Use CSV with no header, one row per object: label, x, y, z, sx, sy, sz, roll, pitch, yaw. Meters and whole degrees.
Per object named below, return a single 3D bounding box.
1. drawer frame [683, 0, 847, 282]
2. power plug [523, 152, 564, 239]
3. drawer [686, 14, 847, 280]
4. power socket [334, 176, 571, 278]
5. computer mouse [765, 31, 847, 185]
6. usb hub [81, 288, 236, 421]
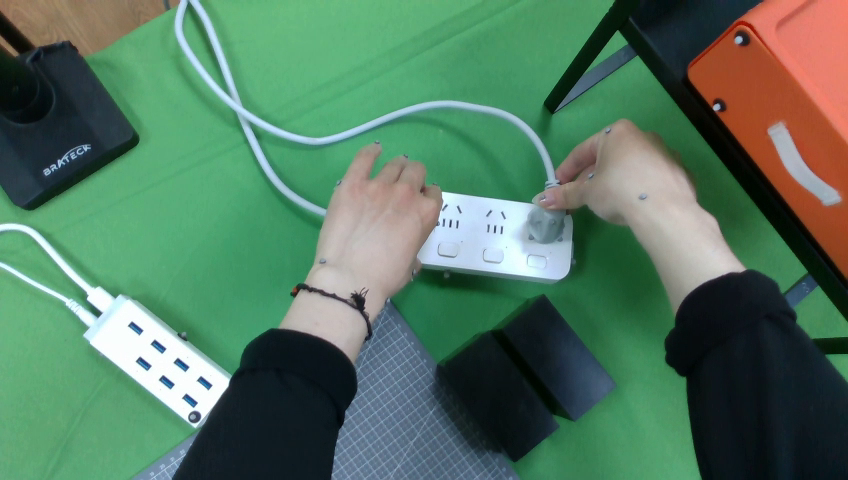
drawer frame,0.325,-0.111,0.410,0.213,0.083,0.201,-37,86,-11
power plug,0.113,-0.036,0.549,0.035,0.052,0.072,17,82,-7
drawer,0.323,-0.107,0.411,0.212,0.073,0.194,-35,86,-11
power socket,0.032,-0.011,0.568,0.227,0.032,0.072,7,80,-5
computer mouse,0.297,-0.091,0.420,0.063,0.041,0.117,-40,85,-7
usb hub,-0.228,0.099,0.524,0.125,0.025,0.049,38,80,1
